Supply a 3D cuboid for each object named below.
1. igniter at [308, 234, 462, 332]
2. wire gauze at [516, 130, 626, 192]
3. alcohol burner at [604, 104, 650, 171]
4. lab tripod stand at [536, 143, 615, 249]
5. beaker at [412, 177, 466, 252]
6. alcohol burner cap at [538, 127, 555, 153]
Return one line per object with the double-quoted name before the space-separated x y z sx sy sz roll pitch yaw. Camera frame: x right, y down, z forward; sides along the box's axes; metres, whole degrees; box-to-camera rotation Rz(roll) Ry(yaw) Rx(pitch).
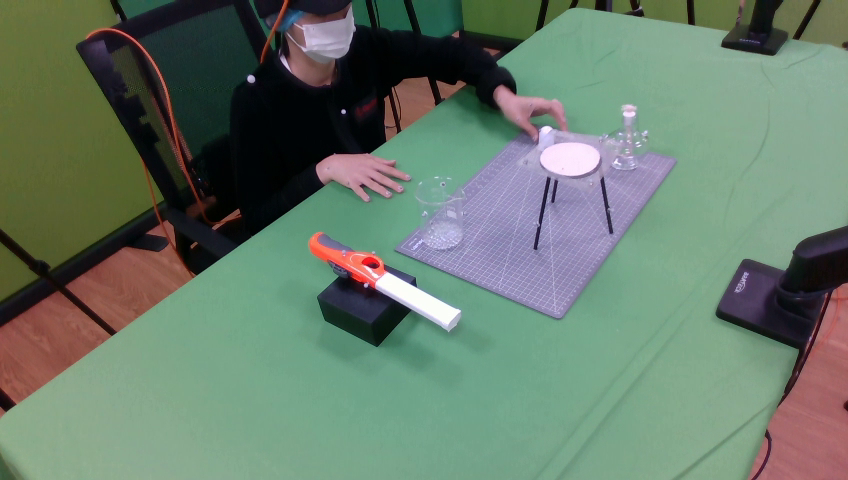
"igniter" -0.066 0.054 0.846 0.274 0.025 0.057 26 49 29
"wire gauze" 0.216 -0.124 0.892 0.124 0.011 0.122 22 49 31
"alcohol burner" 0.357 -0.182 1.060 0.078 0.119 0.077 -6 40 6
"lab tripod stand" 0.224 -0.069 0.931 0.148 0.132 0.147 -4 42 4
"beaker" 0.029 -0.038 0.952 0.083 0.101 0.074 9 43 18
"alcohol burner cap" 0.234 -0.191 1.147 0.034 0.048 0.033 -5 39 4
